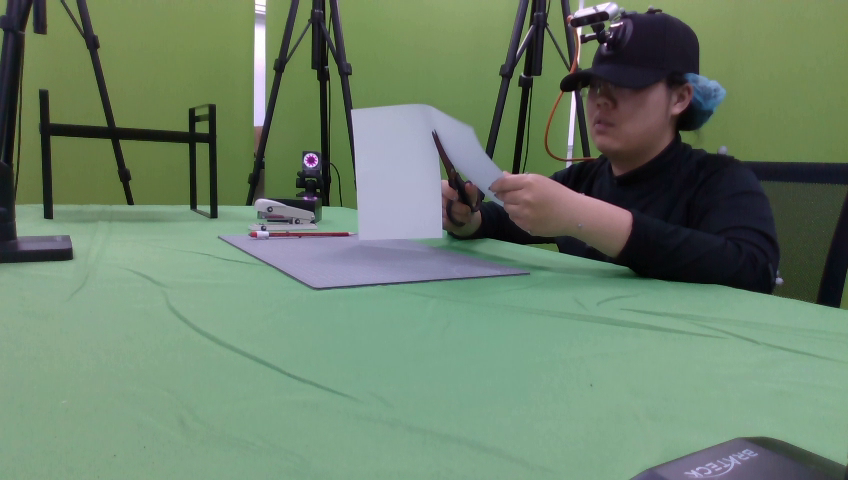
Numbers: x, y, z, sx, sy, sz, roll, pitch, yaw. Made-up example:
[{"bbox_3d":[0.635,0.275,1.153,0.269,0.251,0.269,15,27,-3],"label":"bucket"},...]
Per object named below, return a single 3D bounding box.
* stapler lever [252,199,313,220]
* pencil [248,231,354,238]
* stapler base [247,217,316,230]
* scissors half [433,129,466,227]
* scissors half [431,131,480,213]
[{"bbox_3d":[-0.273,-0.058,1.170,0.119,0.040,0.026,0,10,-37],"label":"stapler lever"},{"bbox_3d":[-0.206,-0.008,1.039,0.195,0.012,0.012,0,8,-36],"label":"pencil"},{"bbox_3d":[-0.276,-0.033,1.172,0.131,0.024,0.041,0,10,-37],"label":"stapler base"},{"bbox_3d":[0.037,-0.095,0.962,0.013,0.175,0.040,14,40,42],"label":"scissors half"},{"bbox_3d":[0.051,-0.109,0.971,0.012,0.040,0.176,20,-24,44],"label":"scissors half"}]
